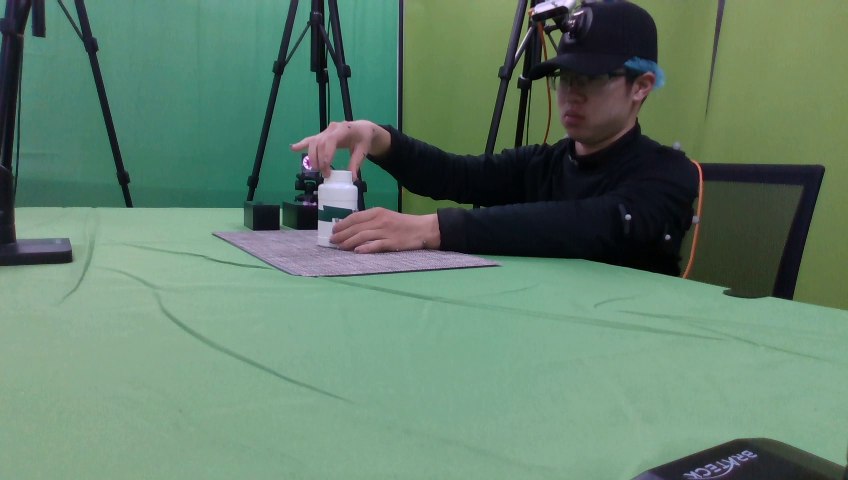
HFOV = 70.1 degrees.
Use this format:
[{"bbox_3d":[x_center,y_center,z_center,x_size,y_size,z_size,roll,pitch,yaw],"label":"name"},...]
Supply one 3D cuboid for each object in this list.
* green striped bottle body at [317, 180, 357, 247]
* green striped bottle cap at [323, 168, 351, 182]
[{"bbox_3d":[-0.139,-0.051,0.964,0.063,0.119,0.063,2,7,0],"label":"green striped bottle body"},{"bbox_3d":[-0.137,-0.103,0.958,0.044,0.020,0.044,4,7,0],"label":"green striped bottle cap"}]
